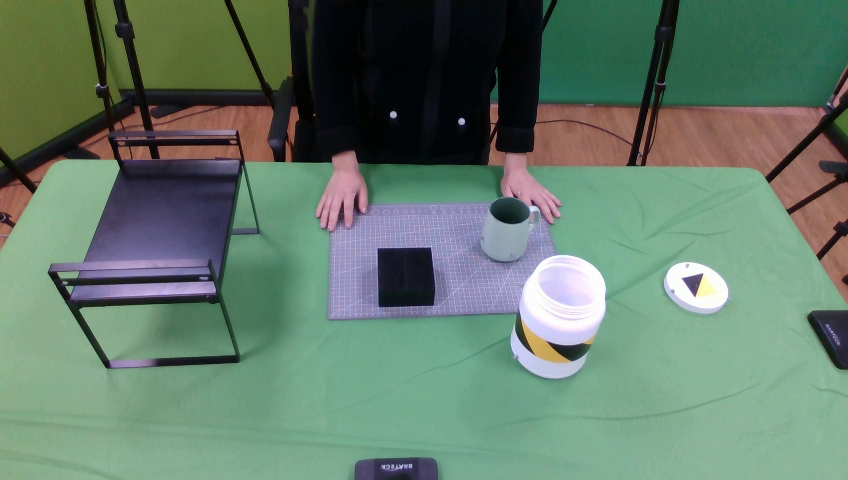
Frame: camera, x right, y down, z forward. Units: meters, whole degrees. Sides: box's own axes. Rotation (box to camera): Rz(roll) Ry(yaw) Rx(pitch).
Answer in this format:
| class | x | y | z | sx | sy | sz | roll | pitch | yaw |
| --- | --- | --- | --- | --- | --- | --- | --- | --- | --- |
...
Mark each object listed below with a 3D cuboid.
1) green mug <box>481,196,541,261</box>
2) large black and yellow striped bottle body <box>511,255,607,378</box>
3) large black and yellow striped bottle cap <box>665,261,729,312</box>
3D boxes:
| class | x | y | z | sx | sy | sz | roll | pitch | yaw |
| --- | --- | --- | --- | --- | --- | --- | --- | --- | --- |
| green mug | 0.174 | -0.027 | 1.173 | 0.125 | 0.105 | 0.092 | -22 | 51 | -23 |
| large black and yellow striped bottle body | 0.218 | 0.124 | 0.981 | 0.131 | 0.185 | 0.130 | 2 | 47 | -2 |
| large black and yellow striped bottle cap | 0.518 | 0.087 | 1.153 | 0.115 | 0.019 | 0.114 | 2 | 47 | -2 |
